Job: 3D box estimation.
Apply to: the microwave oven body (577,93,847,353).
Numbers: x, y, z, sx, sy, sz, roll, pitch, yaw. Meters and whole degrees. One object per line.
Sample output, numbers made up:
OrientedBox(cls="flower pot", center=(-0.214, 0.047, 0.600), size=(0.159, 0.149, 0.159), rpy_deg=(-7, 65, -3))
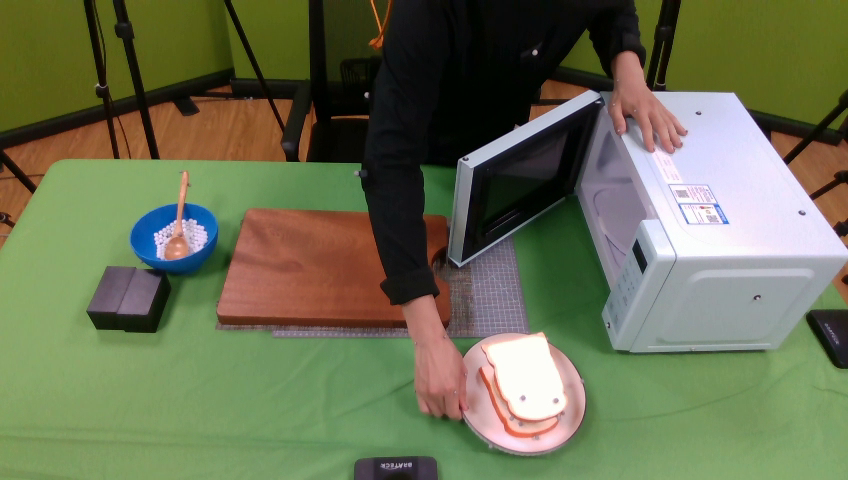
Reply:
OrientedBox(cls="microwave oven body", center=(0.475, -0.042, 1.109), size=(0.326, 0.261, 0.438), rpy_deg=(-1, 45, -4))

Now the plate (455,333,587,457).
OrientedBox(cls="plate", center=(0.151, 0.244, 0.960), size=(0.208, 0.039, 0.206), rpy_deg=(3, 49, -3))

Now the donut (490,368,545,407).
OrientedBox(cls="donut", center=(0.151, 0.220, 0.943), size=(0.099, 0.048, 0.098), rpy_deg=(-3, 44, 3))

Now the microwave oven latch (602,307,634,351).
OrientedBox(cls="microwave oven latch", center=(0.332, 0.153, 1.044), size=(0.030, 0.029, 0.078), rpy_deg=(0, 45, -4))

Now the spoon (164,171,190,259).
OrientedBox(cls="spoon", center=(-0.452, -0.046, 1.128), size=(0.041, 0.022, 0.193), rpy_deg=(-1, 69, -4))

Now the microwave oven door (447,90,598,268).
OrientedBox(cls="microwave oven door", center=(0.192, -0.120, 1.157), size=(0.356, 0.245, 0.039), rpy_deg=(-31, 55, -30))

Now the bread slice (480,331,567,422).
OrientedBox(cls="bread slice", center=(0.157, 0.207, 0.916), size=(0.107, 0.018, 0.133), rpy_deg=(-12, 58, -16))

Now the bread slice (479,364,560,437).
OrientedBox(cls="bread slice", center=(0.158, 0.245, 0.959), size=(0.105, 0.019, 0.130), rpy_deg=(-11, 53, -13))

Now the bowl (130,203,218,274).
OrientedBox(cls="bowl", center=(-0.451, 0.009, 1.116), size=(0.151, 0.077, 0.150), rpy_deg=(3, 45, -3))
